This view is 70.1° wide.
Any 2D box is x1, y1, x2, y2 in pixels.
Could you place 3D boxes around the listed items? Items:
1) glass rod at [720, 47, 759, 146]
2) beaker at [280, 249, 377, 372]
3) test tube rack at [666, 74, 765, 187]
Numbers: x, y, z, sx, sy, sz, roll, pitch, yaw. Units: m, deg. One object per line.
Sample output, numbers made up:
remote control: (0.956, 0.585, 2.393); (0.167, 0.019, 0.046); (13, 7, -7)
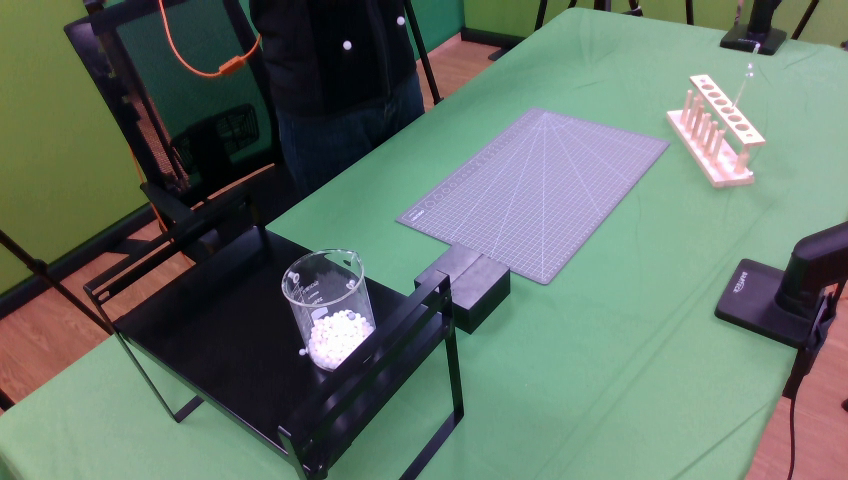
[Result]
glass rod: (0.527, -0.234, 1.018); (0.008, 0.200, 0.008); (-2, 49, 3)
beaker: (-0.084, 0.068, 0.572); (0.073, 0.101, 0.084); (20, 47, 28)
test tube rack: (0.512, -0.201, 1.082); (0.067, 0.085, 0.241); (-6, 41, 2)
